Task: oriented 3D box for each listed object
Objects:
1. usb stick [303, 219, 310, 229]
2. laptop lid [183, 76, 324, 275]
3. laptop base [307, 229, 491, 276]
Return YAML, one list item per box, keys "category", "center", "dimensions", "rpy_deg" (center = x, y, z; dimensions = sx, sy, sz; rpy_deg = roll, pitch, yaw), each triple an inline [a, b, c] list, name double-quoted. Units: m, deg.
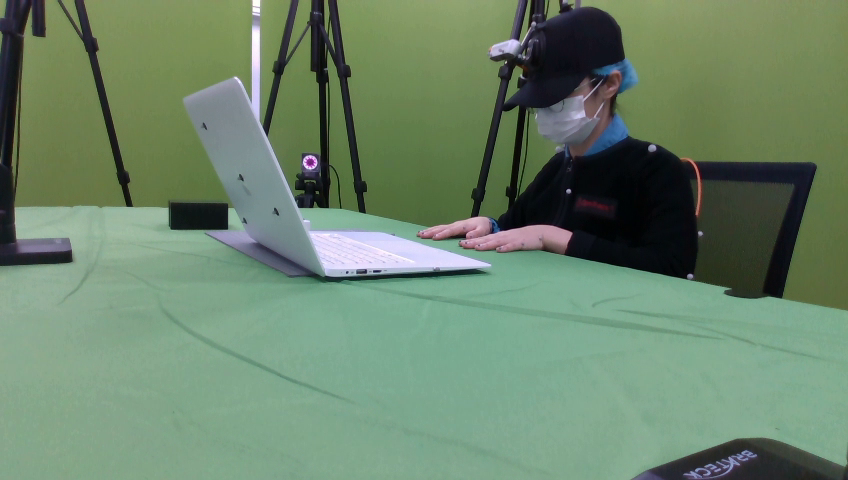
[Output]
- category: "usb stick"
  center: [-0.237, -0.024, 1.101]
  dimensions: [0.021, 0.027, 0.059]
  rpy_deg: [10, 13, 39]
- category: "laptop lid"
  center: [-0.237, -0.085, 0.791]
  dimensions: [0.013, 0.242, 0.355]
  rpy_deg: [-29, 23, -23]
- category: "laptop base"
  center: [-0.094, 0.015, 0.888]
  dimensions: [0.237, 0.023, 0.352]
  rpy_deg: [2, 7, -30]
